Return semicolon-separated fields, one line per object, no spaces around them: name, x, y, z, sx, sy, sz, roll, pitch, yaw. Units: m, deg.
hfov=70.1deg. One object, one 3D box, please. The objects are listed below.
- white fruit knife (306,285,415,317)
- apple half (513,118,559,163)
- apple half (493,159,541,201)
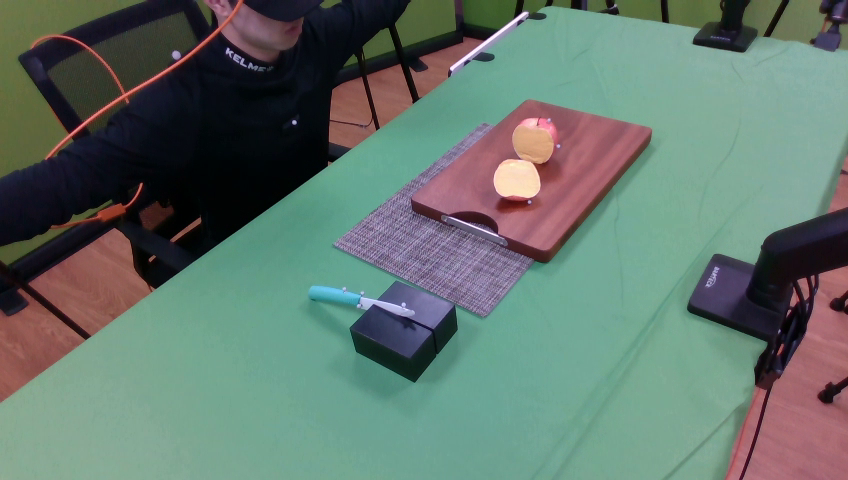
white fruit knife;-0.092;0.085;0.837;0.206;0.027;0.016;6;37;36
apple half;0.202;-0.179;1.066;0.080;0.075;0.053;14;41;29
apple half;0.153;-0.095;0.999;0.081;0.033;0.081;-1;64;2
